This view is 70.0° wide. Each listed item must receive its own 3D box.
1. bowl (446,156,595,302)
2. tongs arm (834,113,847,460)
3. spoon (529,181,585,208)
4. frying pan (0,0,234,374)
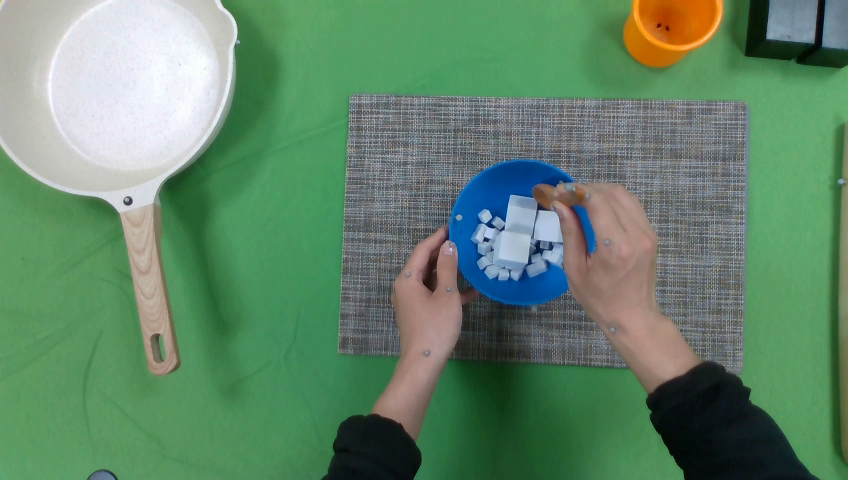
[{"bbox_3d":[0.100,-0.009,0.649,0.151,0.077,0.151,0,88,4],"label":"bowl"},{"bbox_3d":[0.463,0.054,0.654,0.028,0.028,0.387,1,88,2],"label":"tongs arm"},{"bbox_3d":[0.121,-0.040,0.547,0.041,0.193,0.021,37,97,0],"label":"spoon"},{"bbox_3d":[-0.328,-0.092,0.671,0.307,0.103,0.485,-14,78,4],"label":"frying pan"}]
